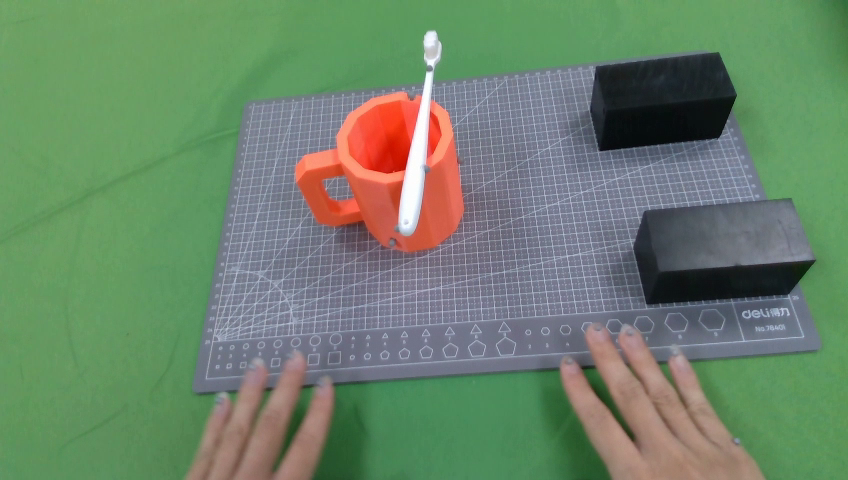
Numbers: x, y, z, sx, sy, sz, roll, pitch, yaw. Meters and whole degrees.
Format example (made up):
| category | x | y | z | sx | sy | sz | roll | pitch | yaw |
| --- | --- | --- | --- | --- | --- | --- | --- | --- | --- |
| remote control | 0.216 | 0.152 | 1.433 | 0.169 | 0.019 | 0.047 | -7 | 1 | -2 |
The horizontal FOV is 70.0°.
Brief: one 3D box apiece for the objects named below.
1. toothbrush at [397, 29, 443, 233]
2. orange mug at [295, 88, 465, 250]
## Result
| category | x | y | z | sx | sy | sz | roll | pitch | yaw |
| --- | --- | --- | --- | --- | --- | --- | --- | --- | --- |
| toothbrush | -0.002 | -0.084 | 0.428 | 0.014 | 0.017 | 0.180 | 3 | 60 | 7 |
| orange mug | -0.032 | -0.050 | 0.474 | 0.126 | 0.102 | 0.082 | -10 | 58 | -2 |
